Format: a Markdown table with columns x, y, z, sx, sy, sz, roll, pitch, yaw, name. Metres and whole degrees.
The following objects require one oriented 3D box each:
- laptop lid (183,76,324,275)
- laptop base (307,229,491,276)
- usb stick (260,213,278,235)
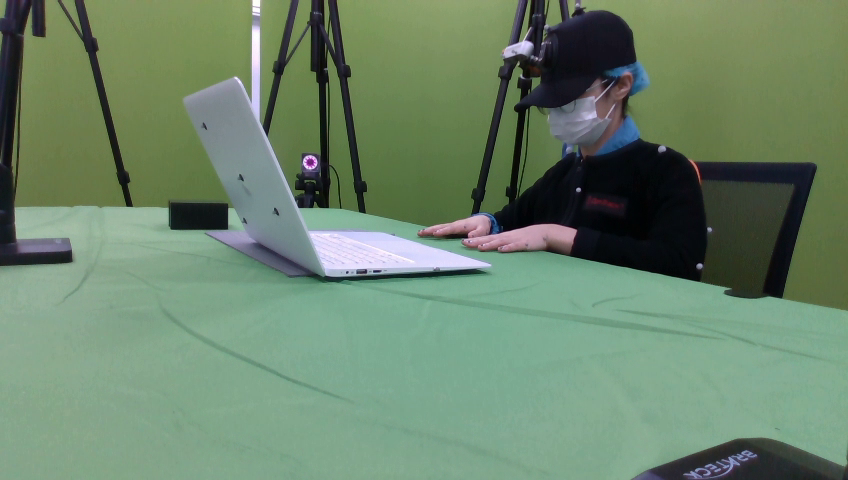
| x | y | z | sx | sy | sz | roll | pitch | yaw | name |
| --- | --- | --- | --- | --- | --- | --- | --- | --- | --- |
| -0.237 | -0.085 | 0.791 | 0.013 | 0.242 | 0.355 | -30 | 23 | -23 | laptop lid |
| -0.094 | 0.015 | 0.888 | 0.237 | 0.023 | 0.352 | 2 | 7 | -30 | laptop base |
| -0.260 | -0.025 | 1.016 | 0.021 | 0.027 | 0.059 | 1 | 19 | -27 | usb stick |
